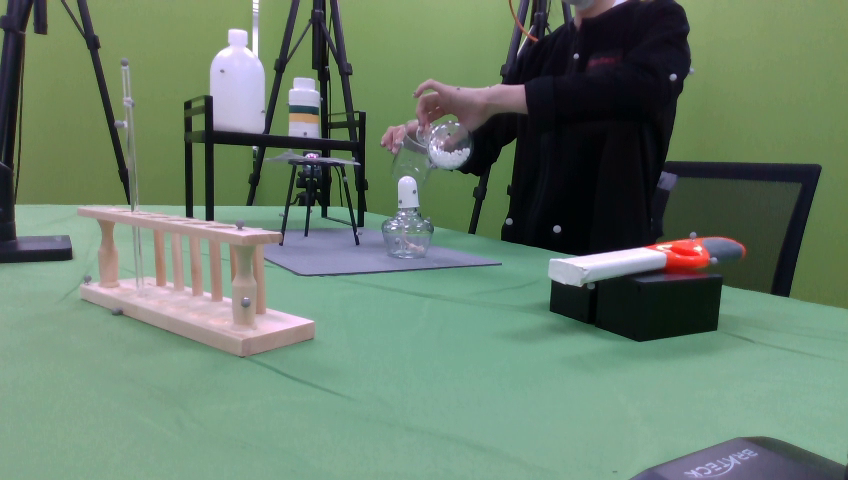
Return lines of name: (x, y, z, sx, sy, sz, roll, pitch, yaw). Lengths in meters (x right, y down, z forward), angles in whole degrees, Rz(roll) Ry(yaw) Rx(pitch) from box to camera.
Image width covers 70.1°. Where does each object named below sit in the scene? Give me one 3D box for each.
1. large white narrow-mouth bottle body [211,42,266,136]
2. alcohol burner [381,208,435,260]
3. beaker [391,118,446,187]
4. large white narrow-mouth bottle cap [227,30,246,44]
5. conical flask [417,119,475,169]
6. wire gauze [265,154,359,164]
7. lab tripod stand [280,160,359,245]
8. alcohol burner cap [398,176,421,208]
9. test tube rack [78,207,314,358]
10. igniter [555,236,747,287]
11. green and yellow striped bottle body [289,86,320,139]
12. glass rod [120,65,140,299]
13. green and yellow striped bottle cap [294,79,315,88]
large white narrow-mouth bottle body: (-0.361, -0.302, 1.176, 0.102, 0.194, 0.102, 1, 7, 0)
alcohol burner: (-0.023, -0.032, 0.871, 0.078, 0.119, 0.078, 0, 6, 0)
beaker: (-0.011, -0.146, 1.044, 0.074, 0.100, 0.083, -23, 61, -38)
large white narrow-mouth bottle cap: (-0.361, -0.389, 1.166, 0.038, 0.024, 0.037, 1, 7, 0)
conical flask: (0.024, -0.160, 0.952, 0.075, 0.075, 0.121, -1, 19, -21)
wire gauze: (-0.181, -0.129, 0.969, 0.126, 0.011, 0.121, -1, 7, -27)
lab tripod stand: (-0.176, -0.062, 0.973, 0.148, 0.131, 0.148, 1, 7, 0)
alcohol burner cap: (-0.023, -0.068, 0.866, 0.034, 0.048, 0.034, -5, 8, 1)
test tube rack: (-0.196, 0.024, 0.499, 0.241, 0.085, 0.067, 8, 8, 37)
igniter: (0.221, 0.017, 0.558, 0.278, 0.025, 0.057, -5, 15, -39)
green and yellow striped bottle body: (-0.250, -0.272, 1.261, 0.063, 0.119, 0.063, 3, 7, 0)
glass rod: (-0.249, -0.047, 0.513, 0.008, 0.199, 0.008, -1, 4, 0)
green and yellow striped bottle cap: (-0.248, -0.323, 1.256, 0.045, 0.020, 0.045, 4, 9, 0)
